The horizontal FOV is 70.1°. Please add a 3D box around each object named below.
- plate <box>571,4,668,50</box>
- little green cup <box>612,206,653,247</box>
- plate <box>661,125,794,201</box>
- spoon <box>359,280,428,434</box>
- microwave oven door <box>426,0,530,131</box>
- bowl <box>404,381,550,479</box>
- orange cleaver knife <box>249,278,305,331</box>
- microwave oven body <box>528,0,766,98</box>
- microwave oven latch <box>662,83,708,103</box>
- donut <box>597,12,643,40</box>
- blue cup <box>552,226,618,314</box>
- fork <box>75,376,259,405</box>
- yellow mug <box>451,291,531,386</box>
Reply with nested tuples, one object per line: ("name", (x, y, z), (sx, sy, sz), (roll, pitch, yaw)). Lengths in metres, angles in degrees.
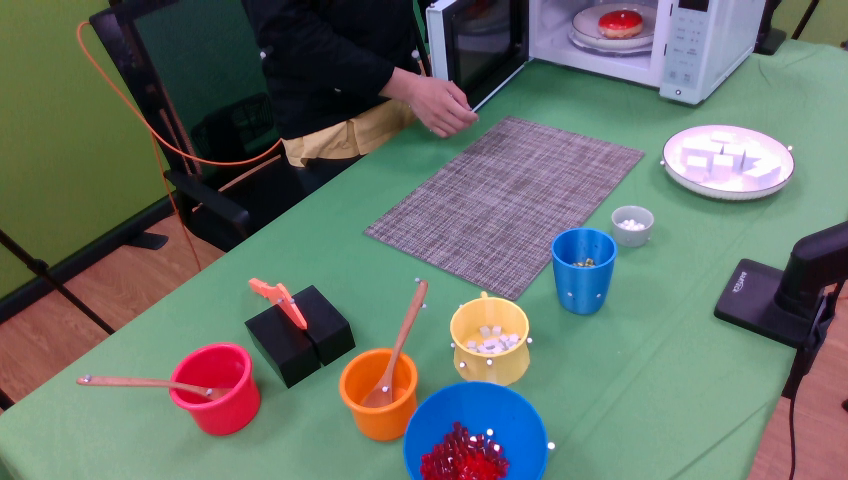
("plate", (0.435, -0.474, 1.358), (0.209, 0.038, 0.208), (-4, 41, 4))
("little green cup", (0.321, -0.019, 0.936), (0.061, 0.039, 0.061), (-4, 41, 4))
("plate", (0.513, -0.128, 1.035), (0.207, 0.039, 0.206), (-4, 40, 4))
("spoon", (-0.032, 0.138, 0.719), (0.041, 0.193, 0.022), (22, 4, 30))
("microwave oven door", (0.124, -0.418, 1.251), (0.039, 0.245, 0.356), (19, 47, 28))
("bowl", (0.058, 0.235, 0.645), (0.151, 0.077, 0.150), (-4, 39, 4))
("orange cleaver knife", (-0.210, 0.089, 0.856), (0.012, 0.077, 0.210), (-28, 15, -25))
("microwave oven body", (0.472, -0.513, 1.317), (0.438, 0.261, 0.327), (26, 51, 34))
("microwave oven latch", (0.518, -0.296, 1.204), (0.078, 0.029, 0.030), (28, 52, 35))
("donut", (0.435, -0.479, 1.346), (0.099, 0.048, 0.098), (-5, 37, 4))
("blue cup", (0.218, 0.047, 0.825), (0.092, 0.100, 0.092), (-6, 40, 5))
("fork", (-0.295, 0.176, 0.716), (0.209, 0.018, 0.028), (19, 28, -36))
("yellow mug", (0.085, 0.120, 0.786), (0.100, 0.064, 0.130), (-7, 39, 1))
